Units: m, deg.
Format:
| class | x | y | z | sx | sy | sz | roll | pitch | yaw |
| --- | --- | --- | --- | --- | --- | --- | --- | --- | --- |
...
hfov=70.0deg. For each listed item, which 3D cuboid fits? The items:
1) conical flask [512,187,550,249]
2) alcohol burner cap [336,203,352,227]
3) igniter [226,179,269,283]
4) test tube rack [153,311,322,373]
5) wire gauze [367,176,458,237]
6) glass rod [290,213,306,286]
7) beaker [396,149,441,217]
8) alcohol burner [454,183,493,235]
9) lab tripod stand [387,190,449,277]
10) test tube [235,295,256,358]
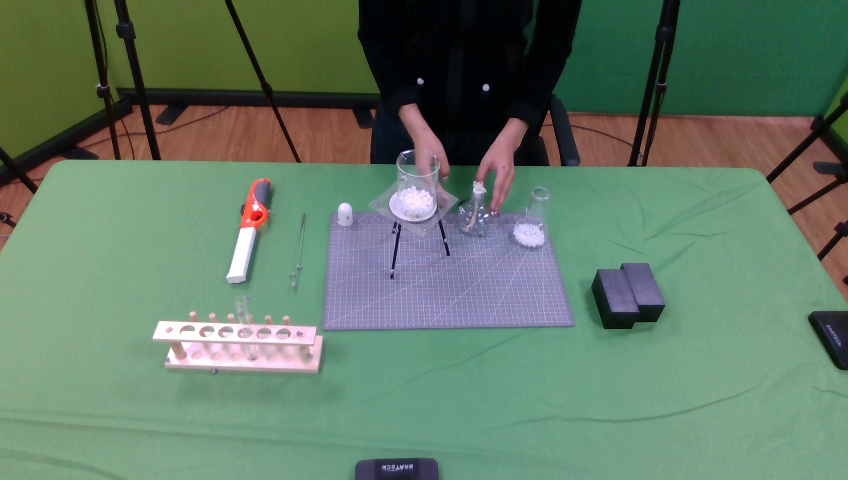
| class | x | y | z | sx | sy | sz | roll | pitch | yaw |
| --- | --- | --- | --- | --- | --- | --- | --- | --- | --- |
| conical flask | 0.217 | -0.048 | 1.190 | 0.075 | 0.122 | 0.075 | 2 | 46 | -2 |
| alcohol burner cap | -0.162 | -0.053 | 1.221 | 0.034 | 0.048 | 0.033 | 2 | 46 | -2 |
| igniter | -0.345 | -0.027 | 1.195 | 0.057 | 0.025 | 0.274 | -6 | 46 | 5 |
| test tube rack | -0.293 | 0.160 | 0.978 | 0.242 | 0.085 | 0.066 | 3 | 46 | -2 |
| wire gauze | -0.020 | -0.066 | 1.089 | 0.124 | 0.011 | 0.121 | 27 | 47 | 22 |
| glass rod | -0.244 | 0.015 | 1.175 | 0.008 | 0.008 | 0.198 | 1 | 43 | -3 |
| beaker | -0.015 | -0.098 | 1.053 | 0.074 | 0.101 | 0.083 | -31 | 55 | -30 |
| alcohol burner | 0.101 | -0.067 | 1.205 | 0.078 | 0.119 | 0.077 | 4 | 46 | -4 |
| lab tripod stand | -0.021 | -0.018 | 1.135 | 0.148 | 0.132 | 0.147 | 3 | 44 | -3 |
| test tube | -0.274 | 0.136 | 0.933 | 0.017 | 0.151 | 0.017 | 4 | 46 | -4 |
